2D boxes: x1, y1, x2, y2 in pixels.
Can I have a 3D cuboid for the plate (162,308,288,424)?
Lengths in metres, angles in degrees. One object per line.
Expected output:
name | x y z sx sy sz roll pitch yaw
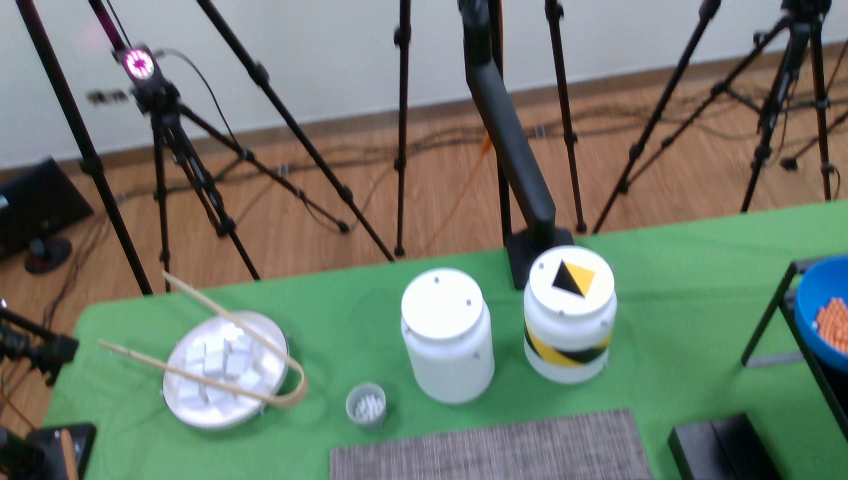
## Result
plate | -0.325 0.209 1.006 0.207 0.039 0.205 -4 51 5

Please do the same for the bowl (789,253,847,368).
bowl | 0.500 0.097 0.708 0.151 0.077 0.150 -4 51 5

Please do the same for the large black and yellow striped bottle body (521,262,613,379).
large black and yellow striped bottle body | 0.212 0.112 0.907 0.130 0.186 0.129 -5 50 6

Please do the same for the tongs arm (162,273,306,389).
tongs arm | -0.329 0.141 1.023 0.384 0.028 0.028 26 53 29

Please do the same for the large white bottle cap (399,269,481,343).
large white bottle cap | 0.022 0.090 0.843 0.115 0.018 0.113 -4 50 6

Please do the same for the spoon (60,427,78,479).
spoon | -0.478 0.353 0.839 0.041 0.194 0.021 -11 6 -1

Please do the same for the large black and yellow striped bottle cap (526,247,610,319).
large black and yellow striped bottle cap | 0.200 0.057 0.844 0.115 0.019 0.114 -3 51 4

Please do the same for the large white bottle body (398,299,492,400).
large white bottle body | 0.033 0.143 0.908 0.130 0.186 0.129 -5 50 6

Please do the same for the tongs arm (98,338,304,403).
tongs arm | -0.369 0.200 0.979 0.383 0.027 0.050 13 51 21

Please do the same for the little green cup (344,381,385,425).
little green cup | -0.089 0.254 0.932 0.061 0.039 0.061 -4 51 6
